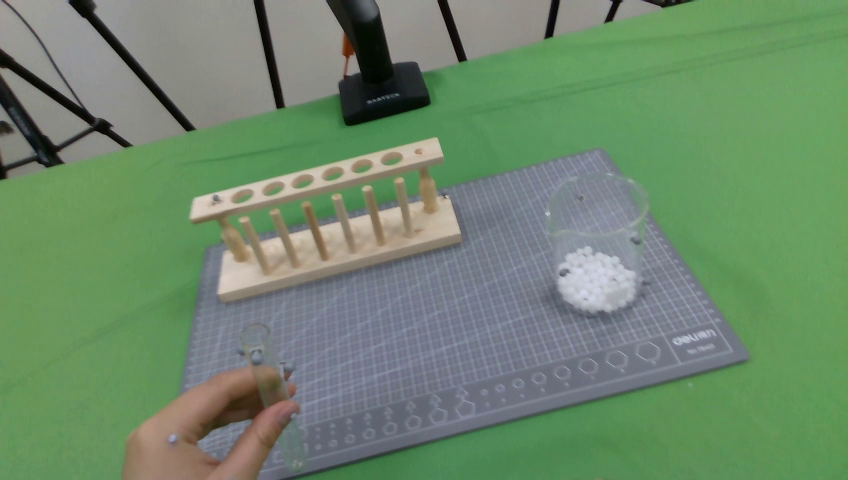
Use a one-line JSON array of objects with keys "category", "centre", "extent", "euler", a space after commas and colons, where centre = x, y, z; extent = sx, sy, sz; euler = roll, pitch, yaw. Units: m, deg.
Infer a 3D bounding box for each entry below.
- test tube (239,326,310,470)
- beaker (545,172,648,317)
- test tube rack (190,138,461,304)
[{"category": "test tube", "centre": [-0.086, 0.101, 0.364], "extent": [0.017, 0.151, 0.017], "euler": [0, 46, 1]}, {"category": "beaker", "centre": [0.137, 0.008, 0.489], "extent": [0.084, 0.101, 0.073], "euler": [-27, 43, -13]}, {"category": "test tube rack", "centre": [-0.093, -0.018, 0.592], "extent": [0.242, 0.086, 0.066], "euler": [-14, 42, 0]}]
